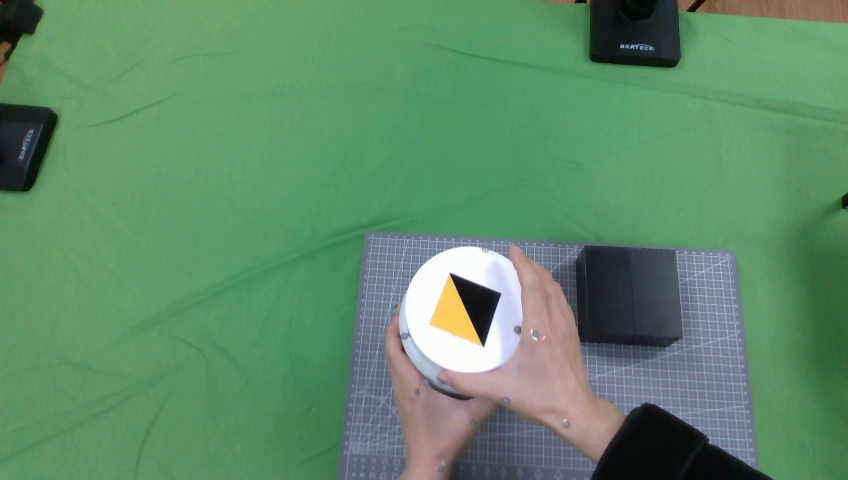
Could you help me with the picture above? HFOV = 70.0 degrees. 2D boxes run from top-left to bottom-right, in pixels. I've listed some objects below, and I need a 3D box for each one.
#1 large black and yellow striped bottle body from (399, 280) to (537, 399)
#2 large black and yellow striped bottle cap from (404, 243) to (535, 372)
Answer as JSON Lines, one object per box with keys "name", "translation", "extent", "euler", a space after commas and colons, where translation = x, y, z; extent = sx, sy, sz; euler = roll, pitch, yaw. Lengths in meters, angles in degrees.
{"name": "large black and yellow striped bottle body", "translation": [0.042, 0.087, 0.613], "extent": [0.131, 0.185, 0.130], "euler": [0, 70, 1]}
{"name": "large black and yellow striped bottle cap", "translation": [0.040, 0.058, 0.533], "extent": [0.115, 0.019, 0.114], "euler": [-1, 69, 3]}
